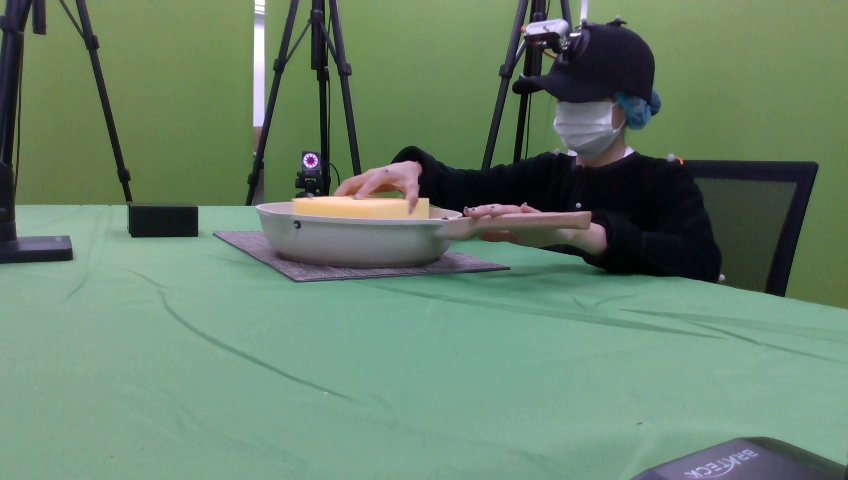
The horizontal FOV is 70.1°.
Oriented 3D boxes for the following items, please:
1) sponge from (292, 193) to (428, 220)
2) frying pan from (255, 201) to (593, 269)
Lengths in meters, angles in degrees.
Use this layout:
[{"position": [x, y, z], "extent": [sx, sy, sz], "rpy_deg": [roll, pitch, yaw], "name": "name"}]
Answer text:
[{"position": [-0.085, -0.029, 0.871], "extent": [0.118, 0.061, 0.207], "rpy_deg": [6, 8, 20], "name": "sponge"}, {"position": [-0.011, -0.017, 0.802], "extent": [0.485, 0.102, 0.308], "rpy_deg": [-2, 4, 39], "name": "frying pan"}]
